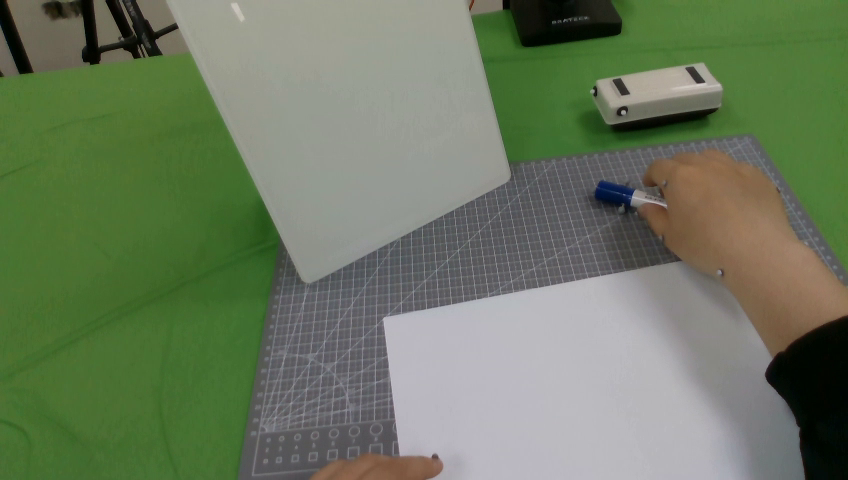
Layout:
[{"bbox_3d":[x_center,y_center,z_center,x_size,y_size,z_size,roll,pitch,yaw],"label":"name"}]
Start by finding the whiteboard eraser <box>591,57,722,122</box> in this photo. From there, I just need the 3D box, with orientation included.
[{"bbox_3d":[0.228,-0.147,0.599,0.113,0.042,0.055,-8,49,0],"label":"whiteboard eraser"}]

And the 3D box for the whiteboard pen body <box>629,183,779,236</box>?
[{"bbox_3d":[0.216,-0.029,0.501,0.140,0.017,0.017,18,53,24],"label":"whiteboard pen body"}]

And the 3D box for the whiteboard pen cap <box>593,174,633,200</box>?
[{"bbox_3d":[0.166,-0.045,0.527,0.033,0.018,0.018,22,54,27],"label":"whiteboard pen cap"}]

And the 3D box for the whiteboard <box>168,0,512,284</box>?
[{"bbox_3d":[-0.081,-0.161,0.521,0.217,0.308,0.142,-28,29,-15],"label":"whiteboard"}]
